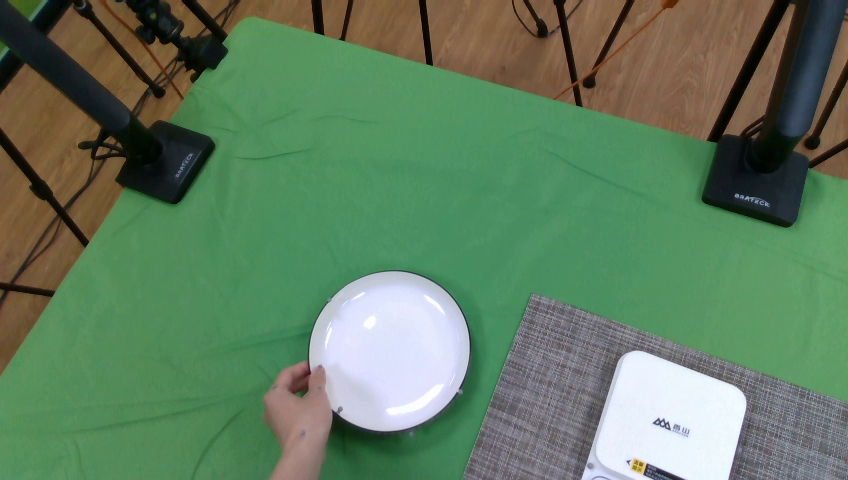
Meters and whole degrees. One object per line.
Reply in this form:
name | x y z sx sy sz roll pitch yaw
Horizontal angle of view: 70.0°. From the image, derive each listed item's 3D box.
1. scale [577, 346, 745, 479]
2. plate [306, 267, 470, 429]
scale | 0.273 0.235 0.698 0.148 0.032 0.200 19 71 15
plate | -0.045 0.136 0.776 0.209 0.038 0.207 -2 67 4
